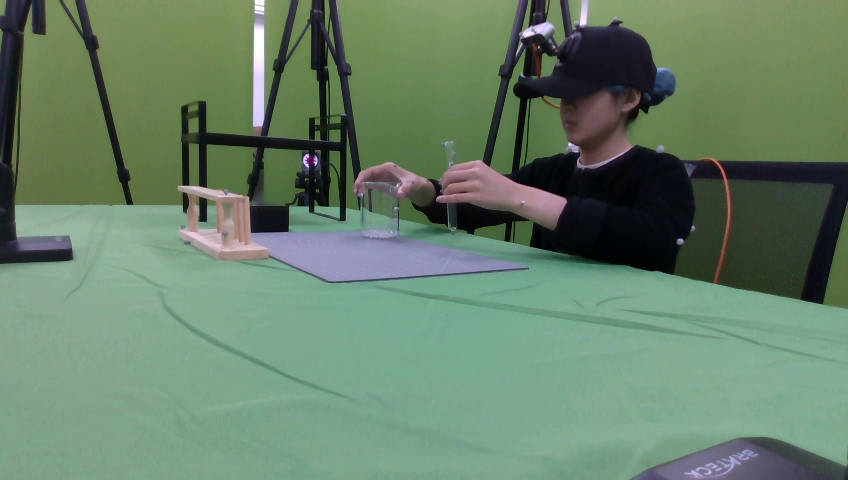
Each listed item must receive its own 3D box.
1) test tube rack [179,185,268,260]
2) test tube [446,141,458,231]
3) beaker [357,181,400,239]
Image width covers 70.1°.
[{"bbox_3d":[-0.303,-0.031,0.898,0.067,0.085,0.241,-2,9,-33],"label":"test tube rack"},{"bbox_3d":[0.046,-0.089,1.007,0.017,0.150,0.017,-2,6,1],"label":"test tube"},{"bbox_3d":[-0.078,-0.053,1.076,0.083,0.100,0.074,8,10,44],"label":"beaker"}]
